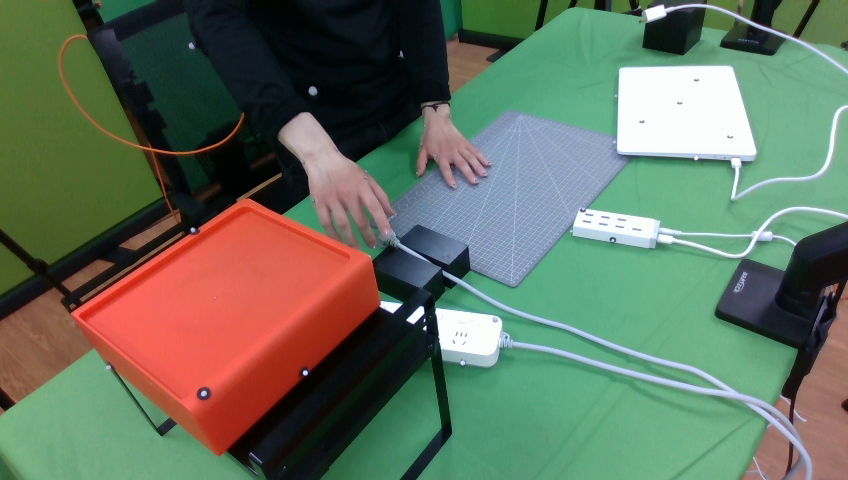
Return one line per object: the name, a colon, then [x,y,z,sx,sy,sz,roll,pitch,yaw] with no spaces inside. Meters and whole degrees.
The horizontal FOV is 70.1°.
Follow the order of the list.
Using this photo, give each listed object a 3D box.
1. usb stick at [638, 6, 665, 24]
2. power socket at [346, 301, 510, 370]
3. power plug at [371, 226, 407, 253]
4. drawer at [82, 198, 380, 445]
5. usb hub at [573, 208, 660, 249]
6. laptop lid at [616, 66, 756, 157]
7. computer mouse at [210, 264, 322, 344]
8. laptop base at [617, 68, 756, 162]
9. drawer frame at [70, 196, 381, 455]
usb stick: [0.503,-0.499,1.347,0.059,0.027,0.021,-21,5,-1]
power socket: [-0.001,0.126,0.817,0.226,0.033,0.072,7,43,15]
power plug: [-0.054,0.009,0.930,0.035,0.053,0.072,-33,64,-5]
drawer: [-0.185,0.066,0.600,0.193,0.073,0.212,24,50,31]
usb hub: [0.302,-0.019,0.950,0.124,0.025,0.049,11,43,20]
laptop lid: [0.503,-0.265,1.196,0.241,0.013,0.356,5,41,16]
computer mouse: [-0.164,0.062,0.625,0.116,0.041,0.063,22,45,27]
laptop base: [0.507,-0.256,1.204,0.235,0.023,0.353,3,41,16]
drawer frame: [-0.186,0.068,0.597,0.200,0.083,0.214,23,49,30]
